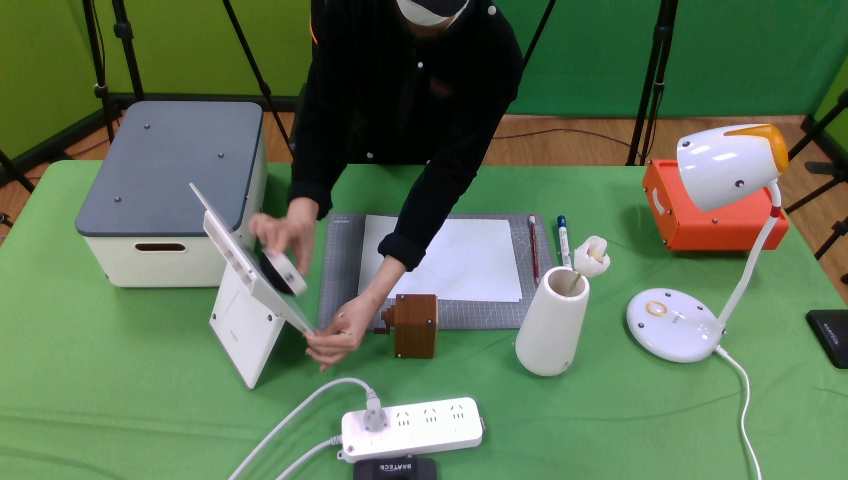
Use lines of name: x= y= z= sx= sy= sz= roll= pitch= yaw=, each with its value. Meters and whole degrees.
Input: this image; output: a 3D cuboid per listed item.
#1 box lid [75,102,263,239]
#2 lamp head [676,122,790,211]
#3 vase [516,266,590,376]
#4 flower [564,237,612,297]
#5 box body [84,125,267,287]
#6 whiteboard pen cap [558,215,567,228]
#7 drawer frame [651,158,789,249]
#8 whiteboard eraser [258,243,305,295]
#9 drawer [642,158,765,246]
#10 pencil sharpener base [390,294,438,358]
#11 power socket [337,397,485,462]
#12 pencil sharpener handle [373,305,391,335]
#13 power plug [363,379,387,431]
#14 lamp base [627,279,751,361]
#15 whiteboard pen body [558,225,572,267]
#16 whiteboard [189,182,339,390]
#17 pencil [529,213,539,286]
box lid: x=-0.443 y=-0.138 z=1.094 sx=0.263 sy=0.015 sz=0.369 roll=-1 pitch=47 yaw=-5
lamp head: x=0.423 y=-0.104 z=0.819 sx=0.122 sy=0.113 sz=0.112 roll=-13 pitch=33 yaw=40
vase: x=0.208 y=0.132 z=0.964 sx=0.098 sy=0.201 sz=0.097 roll=3 pitch=46 yaw=-3
flower: x=0.207 y=0.088 z=0.893 sx=0.038 sy=0.363 sz=0.044 roll=-16 pitch=67 yaw=-9
box body: x=-0.446 y=-0.088 z=1.150 sx=0.254 sy=0.161 sz=0.361 roll=-1 pitch=46 yaw=-5
whiteboard pen cap: x=0.284 y=-0.035 z=1.245 sx=0.018 sy=0.018 sz=0.033 roll=4 pitch=52 yaw=-1
drawer frame: x=0.571 y=-0.075 z=1.214 sx=0.214 sy=0.083 sz=0.200 roll=0 pitch=46 yaw=-1
whiteboard eraser: x=-0.213 y=0.043 z=0.890 sx=0.042 sy=0.056 sz=0.112 roll=-40 pitch=24 yaw=-10
drawer: x=0.565 y=-0.076 z=1.211 sx=0.212 sy=0.073 sz=0.193 roll=2 pitch=45 yaw=-2
pencil sharpener base: x=-0.018 y=0.143 z=1.000 sx=0.077 sy=0.107 sz=0.061 roll=1 pitch=46 yaw=-2
power socket: x=-0.018 y=0.285 z=0.915 sx=0.227 sy=0.033 sz=0.071 roll=-5 pitch=46 yaw=-8
pencil sharpener handle: x=-0.068 y=0.133 z=0.989 sx=0.030 sy=0.068 sz=0.036 roll=1 pitch=47 yaw=-2
power plug: x=-0.072 y=0.252 z=0.910 sx=0.035 sy=0.053 sz=0.072 roll=3 pitch=45 yaw=-1
lamp base: x=0.459 y=0.100 z=1.027 sx=0.178 sy=0.181 sz=0.160 roll=27 pitch=51 yaw=17
whiteboard pen body: x=0.280 y=0.010 z=1.207 sx=0.017 sy=0.017 sz=0.140 roll=3 pitch=50 yaw=-1
whiteboard: x=-0.292 y=0.096 z=0.929 sx=0.144 sy=0.307 sz=0.216 roll=-37 pitch=57 yaw=-10
pencil: x=0.219 y=0.016 z=1.204 sx=0.012 sy=0.012 sz=0.193 roll=5 pitch=47 yaw=0
